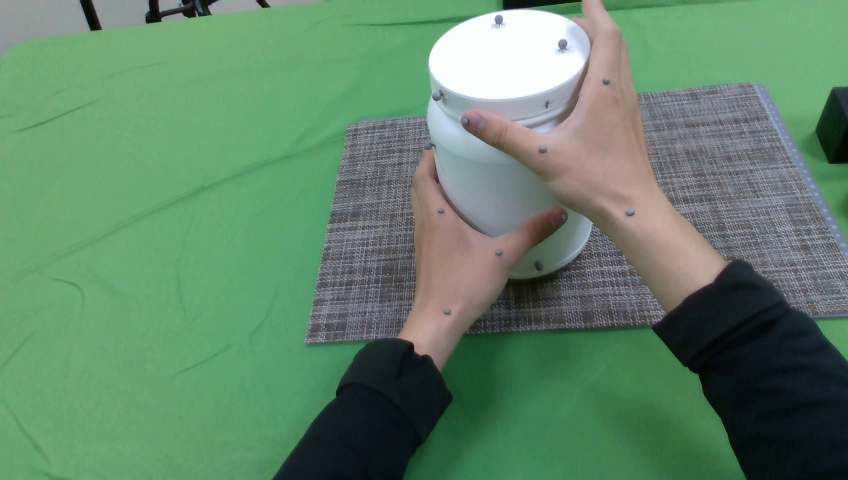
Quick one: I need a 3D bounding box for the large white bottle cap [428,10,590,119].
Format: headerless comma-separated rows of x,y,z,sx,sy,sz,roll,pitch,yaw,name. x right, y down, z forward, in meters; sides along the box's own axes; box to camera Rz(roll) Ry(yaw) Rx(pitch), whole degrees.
0.059,-0.128,0.433,0.115,0.018,0.113,-6,48,7,large white bottle cap

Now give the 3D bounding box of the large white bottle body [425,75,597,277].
0.073,-0.072,0.496,0.130,0.186,0.129,-6,48,7,large white bottle body
